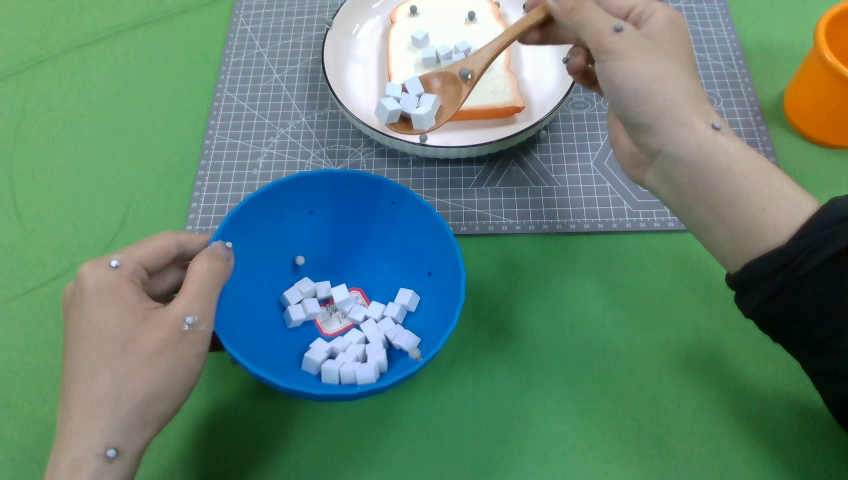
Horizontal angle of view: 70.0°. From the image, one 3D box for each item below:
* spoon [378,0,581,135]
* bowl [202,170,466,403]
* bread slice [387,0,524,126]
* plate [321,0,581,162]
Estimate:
[{"bbox_3d":[0.056,-0.121,0.360,0.194,0.022,0.041,-35,62,3],"label":"spoon"},{"bbox_3d":[-0.055,0.038,0.380,0.152,0.077,0.150,5,57,-7],"label":"bowl"},{"bbox_3d":[0.018,-0.150,0.507,0.107,0.018,0.133,-8,63,0],"label":"bread slice"},{"bbox_3d":[0.021,-0.146,0.502,0.209,0.038,0.207,-1,62,3],"label":"plate"}]
